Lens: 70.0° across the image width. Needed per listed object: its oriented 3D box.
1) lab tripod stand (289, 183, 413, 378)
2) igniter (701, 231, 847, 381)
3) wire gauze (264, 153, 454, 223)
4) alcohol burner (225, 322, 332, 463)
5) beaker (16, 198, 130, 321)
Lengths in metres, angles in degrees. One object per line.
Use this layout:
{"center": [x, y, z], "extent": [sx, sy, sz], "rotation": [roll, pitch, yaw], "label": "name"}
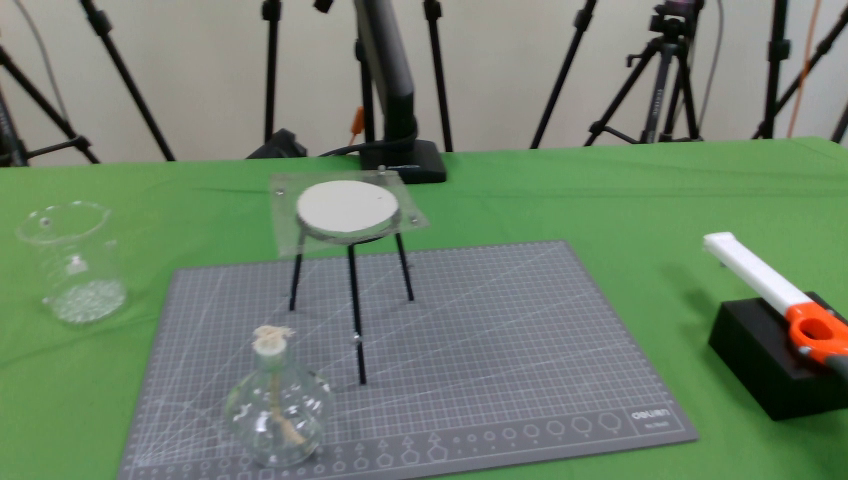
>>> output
{"center": [-0.063, 0.028, 0.549], "extent": [0.148, 0.132, 0.147], "rotation": [3, 34, -2], "label": "lab tripod stand"}
{"center": [0.335, 0.067, 0.532], "extent": [0.057, 0.025, 0.273], "rotation": [-7, 32, -8], "label": "igniter"}
{"center": [-0.056, -0.044, 0.507], "extent": [0.125, 0.011, 0.120], "rotation": [-13, 31, -34], "label": "wire gauze"}
{"center": [-0.107, 0.107, 0.446], "extent": [0.078, 0.120, 0.077], "rotation": [3, 33, -2], "label": "alcohol burner"}
{"center": [-0.328, 0.020, 0.582], "extent": [0.073, 0.101, 0.084], "rotation": [26, 40, 31], "label": "beaker"}
